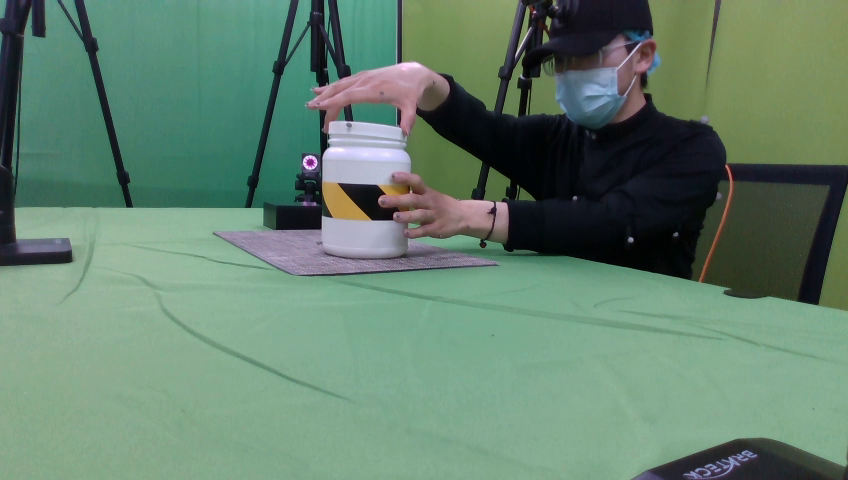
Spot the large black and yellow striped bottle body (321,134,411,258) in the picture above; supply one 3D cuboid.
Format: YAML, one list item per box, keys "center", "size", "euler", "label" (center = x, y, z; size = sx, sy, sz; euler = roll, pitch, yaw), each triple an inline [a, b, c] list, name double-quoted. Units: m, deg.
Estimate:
- center: [-0.085, -0.072, 0.893]
  size: [0.131, 0.184, 0.130]
  euler: [2, 8, 0]
  label: "large black and yellow striped bottle body"

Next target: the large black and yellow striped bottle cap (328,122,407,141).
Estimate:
- center: [-0.081, -0.158, 0.882]
  size: [0.115, 0.019, 0.115]
  euler: [4, 7, 0]
  label: "large black and yellow striped bottle cap"
